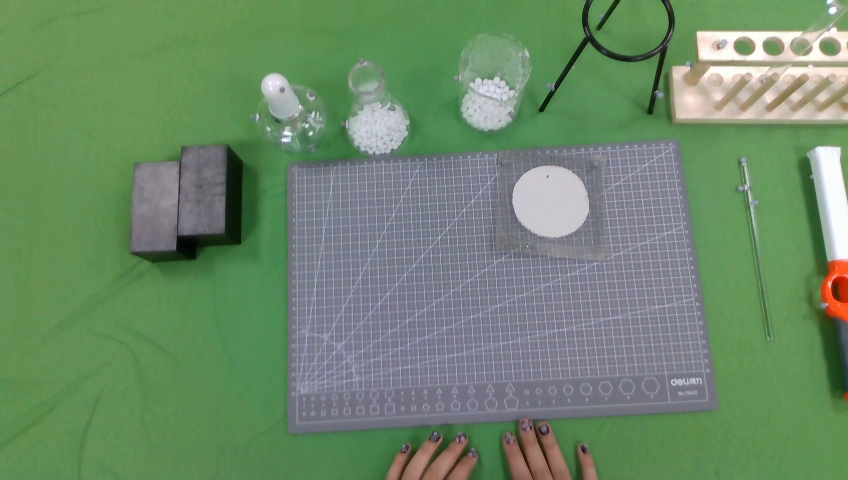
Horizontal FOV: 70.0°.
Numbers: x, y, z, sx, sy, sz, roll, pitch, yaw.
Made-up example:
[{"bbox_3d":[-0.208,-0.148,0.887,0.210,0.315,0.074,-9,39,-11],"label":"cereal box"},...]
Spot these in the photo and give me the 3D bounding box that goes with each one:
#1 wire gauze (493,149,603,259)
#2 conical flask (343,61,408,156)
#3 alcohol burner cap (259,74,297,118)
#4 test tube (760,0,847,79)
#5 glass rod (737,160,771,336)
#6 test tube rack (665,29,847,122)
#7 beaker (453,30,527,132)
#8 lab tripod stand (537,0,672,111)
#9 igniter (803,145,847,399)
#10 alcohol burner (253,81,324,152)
[{"bbox_3d":[0.141,-0.043,0.680,0.125,0.011,0.121,5,78,0],"label":"wire gauze"},{"bbox_3d":[-0.057,-0.144,0.651,0.075,0.122,0.075,0,77,1],"label":"conical flask"},{"bbox_3d":[-0.152,-0.151,0.622,0.034,0.048,0.033,0,71,1],"label":"alcohol burner cap"},{"bbox_3d":[0.385,-0.203,0.621,0.017,0.151,0.017,-1,77,4],"label":"test tube"},{"bbox_3d":[0.362,0.006,0.666,0.008,0.008,0.198,-3,77,1],"label":"glass rod"},{"bbox_3d":[0.403,-0.178,0.666,0.242,0.085,0.066,0,77,2],"label":"test tube rack"},{"bbox_3d":[0.071,-0.166,0.665,0.074,0.100,0.083,-21,78,-3],"label":"beaker"},{"bbox_3d":[0.196,-0.200,0.651,0.148,0.132,0.148,0,80,2],"label":"lab tripod stand"},{"bbox_3d":[0.447,0.030,0.650,0.057,0.025,0.275,0,78,-8],"label":"igniter"},{"bbox_3d":[-0.151,-0.141,0.657,0.078,0.119,0.077,-1,78,3],"label":"alcohol burner"}]
